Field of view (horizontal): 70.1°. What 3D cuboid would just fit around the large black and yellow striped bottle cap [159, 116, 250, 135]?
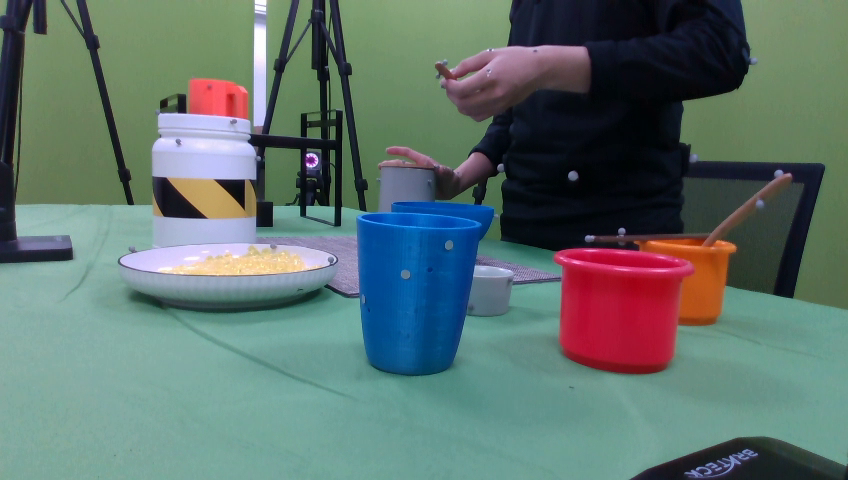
[{"bbox_3d":[-0.292,-0.153,0.810,0.115,0.019,0.115,3,8,0],"label":"large black and yellow striped bottle cap"}]

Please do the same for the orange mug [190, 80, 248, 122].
[{"bbox_3d":[-0.394,-0.257,1.173,0.126,0.100,0.084,1,6,25],"label":"orange mug"}]

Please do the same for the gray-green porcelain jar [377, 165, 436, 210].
[{"bbox_3d":[-0.034,-0.073,1.127,0.106,0.126,0.106,4,4,0],"label":"gray-green porcelain jar"}]

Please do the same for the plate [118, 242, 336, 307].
[{"bbox_3d":[-0.194,0.033,0.615,0.209,0.038,0.209,2,7,0],"label":"plate"}]

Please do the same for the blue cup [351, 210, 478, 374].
[{"bbox_3d":[-0.009,0.034,0.414,0.093,0.100,0.092,4,8,0],"label":"blue cup"}]

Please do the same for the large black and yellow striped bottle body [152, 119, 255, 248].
[{"bbox_3d":[-0.296,-0.070,0.819,0.131,0.184,0.130,2,7,0],"label":"large black and yellow striped bottle body"}]

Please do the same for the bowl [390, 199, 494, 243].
[{"bbox_3d":[0.024,-0.015,0.871,0.151,0.077,0.151,3,7,0],"label":"bowl"}]

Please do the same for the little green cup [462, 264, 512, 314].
[{"bbox_3d":[0.053,0.047,0.580,0.061,0.038,0.061,3,8,0],"label":"little green cup"}]

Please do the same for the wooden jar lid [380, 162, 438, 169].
[{"bbox_3d":[-0.029,-0.134,1.124,0.108,0.020,0.108,3,5,0],"label":"wooden jar lid"}]

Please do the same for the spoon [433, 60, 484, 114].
[{"bbox_3d":[0.046,-0.214,0.858,0.041,0.021,0.194,4,-9,21],"label":"spoon"}]

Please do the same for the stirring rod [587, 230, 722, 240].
[{"bbox_3d":[0.227,-0.006,0.585,0.177,0.006,0.014,-2,7,-28],"label":"stirring rod"}]

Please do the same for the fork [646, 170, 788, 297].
[{"bbox_3d":[0.256,0.004,0.543,0.028,0.018,0.207,3,-36,-10],"label":"fork"}]
